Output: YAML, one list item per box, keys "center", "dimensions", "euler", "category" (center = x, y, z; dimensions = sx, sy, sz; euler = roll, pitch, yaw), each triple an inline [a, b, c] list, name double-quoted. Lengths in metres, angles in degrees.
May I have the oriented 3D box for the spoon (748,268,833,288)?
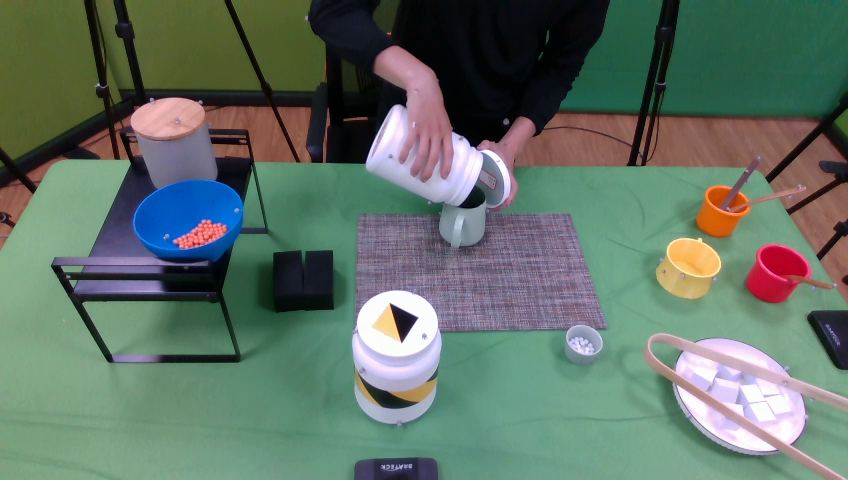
- center: [0.660, 0.068, 1.097]
  dimensions: [0.041, 0.193, 0.021]
  euler: [-3, 91, -6]
  category: "spoon"

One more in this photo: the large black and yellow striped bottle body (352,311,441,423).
- center: [-0.042, 0.177, 0.913]
  dimensions: [0.131, 0.185, 0.130]
  euler: [2, 46, -2]
  category: "large black and yellow striped bottle body"

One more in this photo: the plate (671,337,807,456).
- center: [0.504, 0.254, 0.984]
  dimensions: [0.208, 0.039, 0.206]
  euler: [2, 46, -2]
  category: "plate"

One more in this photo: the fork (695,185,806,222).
- center: [0.658, -0.074, 1.230]
  dimensions: [0.207, 0.019, 0.028]
  euler: [-23, 36, 37]
  category: "fork"

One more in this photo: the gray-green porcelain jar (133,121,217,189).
- center: [-0.397, -0.141, 0.980]
  dimensions: [0.106, 0.127, 0.105]
  euler: [2, 47, -2]
  category: "gray-green porcelain jar"

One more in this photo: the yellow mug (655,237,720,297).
- center: [0.509, 0.041, 1.167]
  dimensions: [0.099, 0.064, 0.130]
  euler: [24, 48, 18]
  category: "yellow mug"

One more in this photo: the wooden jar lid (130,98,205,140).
- center: [-0.393, -0.183, 0.934]
  dimensions: [0.108, 0.021, 0.107]
  euler: [3, 44, -2]
  category: "wooden jar lid"

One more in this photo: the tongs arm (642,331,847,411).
- center: [0.546, 0.227, 0.968]
  dimensions: [0.384, 0.026, 0.050]
  euler: [22, 52, 13]
  category: "tongs arm"

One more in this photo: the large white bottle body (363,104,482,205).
- center: [-0.002, -0.147, 1.090]
  dimensions: [0.185, 0.131, 0.130]
  euler: [23, 45, -13]
  category: "large white bottle body"

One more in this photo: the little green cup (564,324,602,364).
- center: [0.269, 0.179, 1.035]
  dimensions: [0.061, 0.039, 0.061]
  euler: [2, 45, -2]
  category: "little green cup"

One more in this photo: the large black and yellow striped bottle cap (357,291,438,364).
- center: [-0.037, 0.121, 0.851]
  dimensions: [0.115, 0.019, 0.114]
  euler: [2, 46, -1]
  category: "large black and yellow striped bottle cap"

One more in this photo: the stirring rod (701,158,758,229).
- center: [0.634, -0.096, 1.257]
  dimensions: [0.014, 0.006, 0.176]
  euler: [38, 97, 29]
  category: "stirring rod"

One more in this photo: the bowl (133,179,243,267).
- center: [-0.339, -0.013, 0.895]
  dimensions: [0.151, 0.077, 0.150]
  euler: [2, 46, -2]
  category: "bowl"

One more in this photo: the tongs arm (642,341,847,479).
- center: [0.504, 0.278, 0.918]
  dimensions: [0.386, 0.028, 0.028]
  euler: [34, 59, 22]
  category: "tongs arm"

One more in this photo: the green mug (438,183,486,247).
- center: [0.072, -0.039, 1.178]
  dimensions: [0.092, 0.105, 0.124]
  euler: [12, 47, 7]
  category: "green mug"

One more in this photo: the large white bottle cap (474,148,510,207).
- center: [0.121, -0.121, 1.173]
  dimensions: [0.018, 0.115, 0.114]
  euler: [-23, 52, -31]
  category: "large white bottle cap"
